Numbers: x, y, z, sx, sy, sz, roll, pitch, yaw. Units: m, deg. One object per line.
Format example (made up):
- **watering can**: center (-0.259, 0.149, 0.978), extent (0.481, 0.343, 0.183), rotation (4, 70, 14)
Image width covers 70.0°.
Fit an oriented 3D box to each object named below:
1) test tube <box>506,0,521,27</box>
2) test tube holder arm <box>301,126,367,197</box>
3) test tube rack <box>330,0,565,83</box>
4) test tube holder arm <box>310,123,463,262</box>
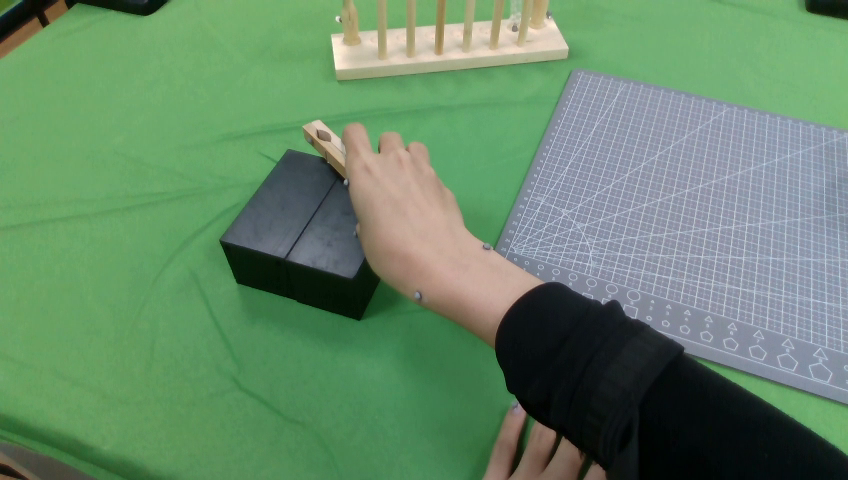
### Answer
- **test tube**: center (0.090, -0.282, 0.598), extent (0.017, 0.152, 0.017), rotation (-3, 48, 3)
- **test tube holder arm**: center (-0.066, -0.061, 0.458), extent (0.010, 0.015, 0.087), rotation (-36, 55, -19)
- **test tube rack**: center (0.024, -0.226, 0.616), extent (0.243, 0.086, 0.066), rotation (-7, 51, -7)
- **test tube holder arm**: center (-0.033, -0.039, 0.436), extent (0.013, 0.015, 0.176), rotation (-37, 55, -19)
